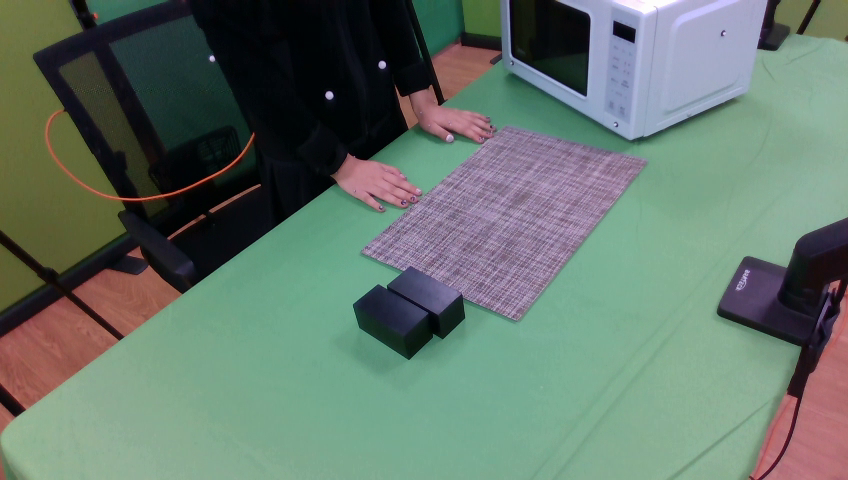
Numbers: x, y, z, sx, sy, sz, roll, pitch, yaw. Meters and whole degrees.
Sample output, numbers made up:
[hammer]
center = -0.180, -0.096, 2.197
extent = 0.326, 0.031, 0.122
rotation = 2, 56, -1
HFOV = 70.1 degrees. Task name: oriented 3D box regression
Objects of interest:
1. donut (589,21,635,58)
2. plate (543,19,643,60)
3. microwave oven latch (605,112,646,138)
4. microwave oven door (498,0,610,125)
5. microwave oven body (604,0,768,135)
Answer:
[donut]
center = 0.402, -0.429, 1.294
extent = 0.099, 0.048, 0.098
rotation = 2, 52, -3
[plate]
center = 0.358, -0.426, 1.292
extent = 0.209, 0.038, 0.208
rotation = 0, 35, 1
[microwave oven latch]
center = 0.375, -0.217, 1.130
extent = 0.030, 0.029, 0.078
rotation = -25, 42, -16
[microwave oven door]
center = 0.261, -0.410, 1.219
extent = 0.039, 0.245, 0.352
rotation = -24, 42, -17
[microwave oven body]
center = 0.411, -0.441, 1.235
extent = 0.327, 0.261, 0.437
rotation = -25, 42, -16
